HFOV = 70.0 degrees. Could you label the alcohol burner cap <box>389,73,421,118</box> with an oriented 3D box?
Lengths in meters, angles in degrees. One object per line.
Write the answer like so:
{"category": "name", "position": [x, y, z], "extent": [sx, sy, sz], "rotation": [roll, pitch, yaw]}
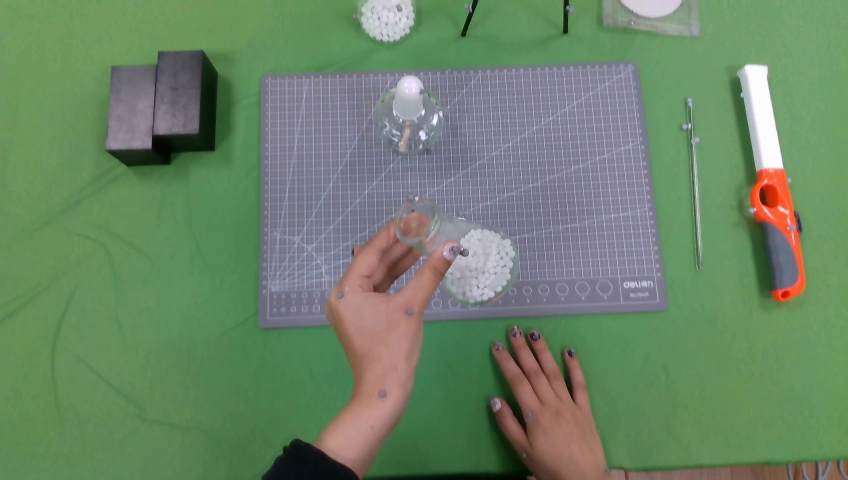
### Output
{"category": "alcohol burner cap", "position": [-0.018, -0.151, 0.620], "extent": [0.034, 0.048, 0.033], "rotation": [3, 71, -8]}

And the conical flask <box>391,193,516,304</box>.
{"category": "conical flask", "position": [0.021, 0.003, 0.489], "extent": [0.075, 0.123, 0.075], "rotation": [-11, 67, 27]}

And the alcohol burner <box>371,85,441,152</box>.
{"category": "alcohol burner", "position": [-0.019, -0.141, 0.655], "extent": [0.078, 0.119, 0.077], "rotation": [1, 77, -2]}

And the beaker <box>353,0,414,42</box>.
{"category": "beaker", "position": [-0.046, -0.283, 0.695], "extent": [0.084, 0.100, 0.074], "rotation": [-43, 81, -9]}

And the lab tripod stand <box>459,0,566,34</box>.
{"category": "lab tripod stand", "position": [0.106, -0.301, 0.683], "extent": [0.148, 0.132, 0.148], "rotation": [0, 80, 0]}

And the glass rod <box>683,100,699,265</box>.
{"category": "glass rod", "position": [0.308, -0.069, 0.701], "extent": [0.008, 0.008, 0.199], "rotation": [2, 78, 0]}

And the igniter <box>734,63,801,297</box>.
{"category": "igniter", "position": [0.392, -0.072, 0.692], "extent": [0.057, 0.025, 0.275], "rotation": [0, 78, -12]}

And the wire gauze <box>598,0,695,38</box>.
{"category": "wire gauze", "position": [0.276, -0.313, 0.752], "extent": [0.125, 0.011, 0.121], "rotation": [5, 79, -2]}
